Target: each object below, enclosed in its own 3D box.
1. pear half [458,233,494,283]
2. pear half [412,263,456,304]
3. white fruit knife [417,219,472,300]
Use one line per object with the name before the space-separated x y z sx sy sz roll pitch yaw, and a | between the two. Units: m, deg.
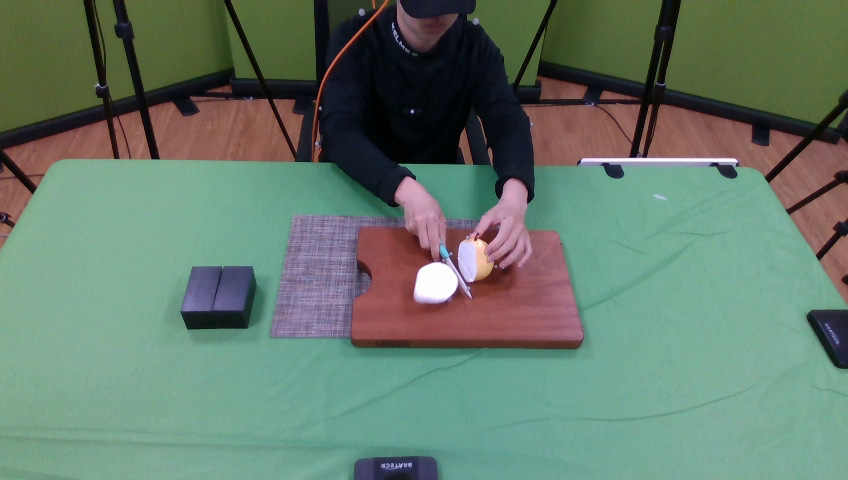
pear half | 0.098 0.023 1.087 0.056 0.110 0.076 -21 55 -22
pear half | 0.013 0.082 1.069 0.088 0.031 0.070 -37 81 -18
white fruit knife | 0.038 0.032 1.119 0.016 0.027 0.206 -20 55 -20
